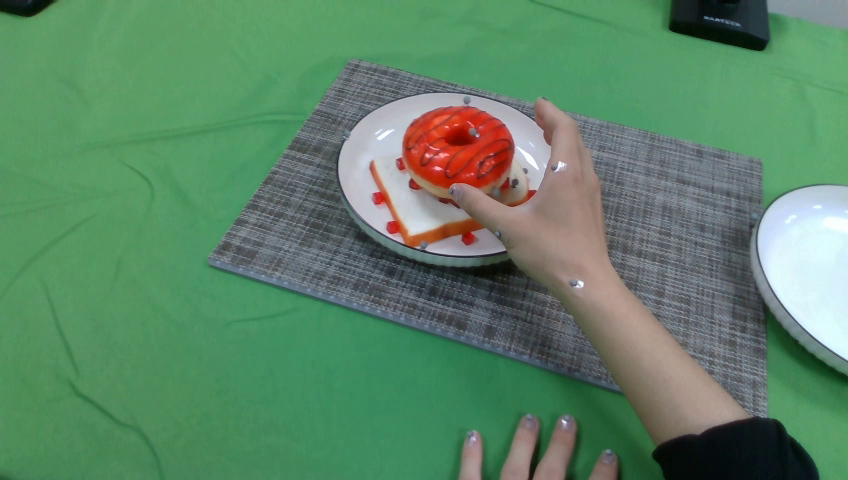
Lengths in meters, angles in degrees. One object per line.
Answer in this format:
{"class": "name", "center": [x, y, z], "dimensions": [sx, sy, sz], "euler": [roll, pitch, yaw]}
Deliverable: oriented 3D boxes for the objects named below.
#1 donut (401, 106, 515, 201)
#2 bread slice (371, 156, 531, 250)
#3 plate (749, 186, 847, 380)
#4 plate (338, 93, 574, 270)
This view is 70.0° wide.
{"class": "donut", "center": [0.029, -0.076, 0.520], "dimensions": [0.099, 0.048, 0.098], "euler": [3, 52, -3]}
{"class": "bread slice", "center": [0.028, -0.049, 0.548], "dimensions": [0.132, 0.019, 0.104], "euler": [-17, 56, -16]}
{"class": "plate", "center": [0.372, 0.043, 0.503], "dimensions": [0.208, 0.039, 0.205], "euler": [2, 52, -3]}
{"class": "plate", "center": [0.027, -0.054, 0.548], "dimensions": [0.209, 0.038, 0.207], "euler": [2, 52, -2]}
